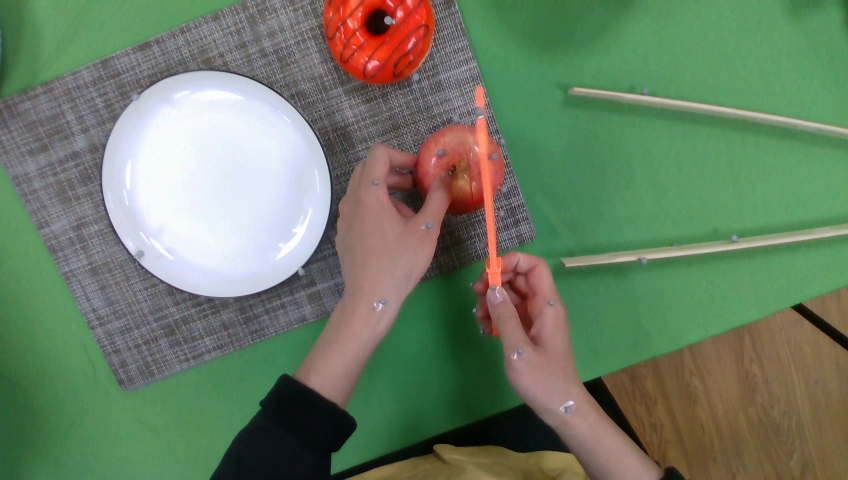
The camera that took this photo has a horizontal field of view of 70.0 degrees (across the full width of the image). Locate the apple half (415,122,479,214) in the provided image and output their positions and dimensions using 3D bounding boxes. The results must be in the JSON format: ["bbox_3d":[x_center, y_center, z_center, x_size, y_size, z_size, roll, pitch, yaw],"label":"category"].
[{"bbox_3d":[0.019,-0.063,0.544,0.053,0.074,0.081,-8,105,11],"label":"apple half"}]

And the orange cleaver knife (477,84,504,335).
[{"bbox_3d":[0.054,-0.016,0.489,0.012,0.076,0.213,-2,125,10],"label":"orange cleaver knife"}]

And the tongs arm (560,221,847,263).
[{"bbox_3d":[0.323,-0.020,0.579,0.385,0.026,0.051,-5,99,0],"label":"tongs arm"}]

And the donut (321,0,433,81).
[{"bbox_3d":[-0.041,-0.190,0.530,0.099,0.048,0.099,0,104,1],"label":"donut"}]

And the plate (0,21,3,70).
[{"bbox_3d":[-0.472,-0.186,0.533,0.208,0.039,0.208,0,102,0],"label":"plate"}]

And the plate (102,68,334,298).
[{"bbox_3d":[-0.186,-0.051,0.562,0.209,0.038,0.210,0,103,0],"label":"plate"}]

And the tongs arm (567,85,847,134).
[{"bbox_3d":[0.323,-0.105,0.562,0.388,0.027,0.028,9,95,-3],"label":"tongs arm"}]

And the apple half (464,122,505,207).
[{"bbox_3d":[0.056,-0.069,0.540,0.033,0.081,0.081,-7,102,8],"label":"apple half"}]
